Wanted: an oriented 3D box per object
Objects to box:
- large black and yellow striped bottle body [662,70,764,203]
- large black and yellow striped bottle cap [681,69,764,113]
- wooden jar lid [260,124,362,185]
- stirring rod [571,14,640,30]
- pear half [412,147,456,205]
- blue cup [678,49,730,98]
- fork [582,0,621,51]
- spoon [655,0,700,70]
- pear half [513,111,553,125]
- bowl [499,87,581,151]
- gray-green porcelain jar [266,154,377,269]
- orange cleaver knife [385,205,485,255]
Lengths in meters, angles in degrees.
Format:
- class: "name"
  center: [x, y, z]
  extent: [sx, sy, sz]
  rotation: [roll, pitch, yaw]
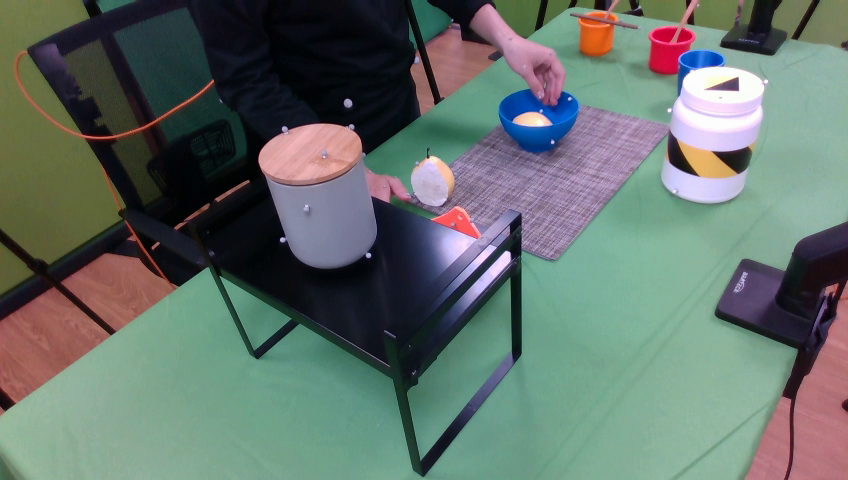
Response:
- class: "large black and yellow striped bottle body"
  center: [0.464, -0.166, 0.976]
  extent: [0.131, 0.185, 0.130]
  rotation: [-5, 41, 5]
- class: "large black and yellow striped bottle cap"
  center: [0.453, -0.229, 0.921]
  extent: [0.115, 0.019, 0.114]
  rotation: [-4, 39, 4]
- class: "wooden jar lid"
  center: [-0.119, -0.088, 0.644]
  extent: [0.108, 0.021, 0.108]
  rotation: [-4, 40, 3]
- class: "stirring rod"
  center: [0.419, -0.508, 1.404]
  extent: [0.174, 0.006, 0.014]
  rotation: [28, 55, 35]
- class: "pear half"
  center: [0.019, -0.120, 1.042]
  extent: [0.076, 0.110, 0.056]
  rotation: [11, 44, 16]
- class: "blue cup"
  center: [0.542, -0.310, 1.194]
  extent: [0.092, 0.101, 0.092]
  rotation: [-6, 41, 6]
- class: "fork"
  center: [0.446, -0.539, 1.438]
  extent: [0.207, 0.019, 0.028]
  rotation: [-57, 36, 12]
- class: "spoon"
  center: [0.568, -0.463, 1.337]
  extent: [0.041, 0.022, 0.193]
  rotation: [30, 97, 37]
- class: "pear half"
  center: [0.214, -0.225, 1.149]
  extent: [0.087, 0.031, 0.070]
  rotation: [12, 49, 14]
- class: "bowl"
  center: [0.220, -0.223, 1.155]
  extent: [0.151, 0.077, 0.150]
  rotation: [-4, 40, 4]
- class: "gray-green porcelain jar"
  center: [-0.112, -0.039, 0.685]
  extent: [0.106, 0.127, 0.105]
  rotation: [-4, 40, 4]
- class: "orange cleaver knife"
  center: [0.012, -0.010, 0.942]
  extent: [0.012, 0.077, 0.210]
  rotation: [-36, 19, -35]
